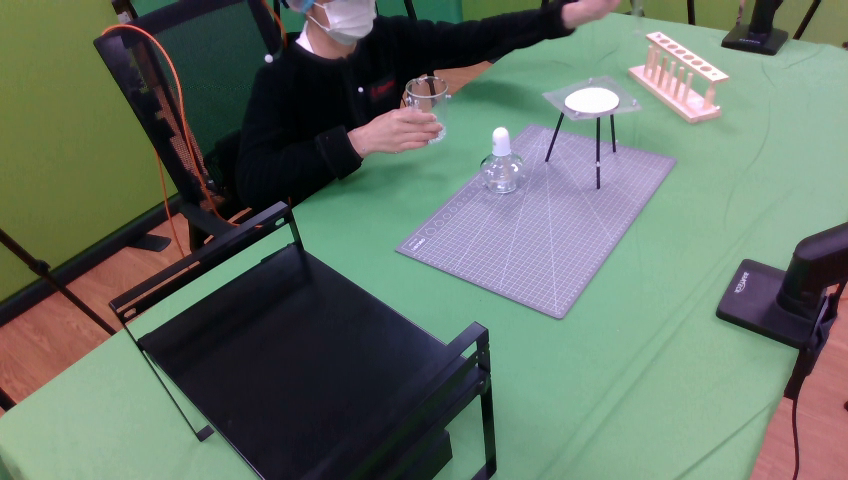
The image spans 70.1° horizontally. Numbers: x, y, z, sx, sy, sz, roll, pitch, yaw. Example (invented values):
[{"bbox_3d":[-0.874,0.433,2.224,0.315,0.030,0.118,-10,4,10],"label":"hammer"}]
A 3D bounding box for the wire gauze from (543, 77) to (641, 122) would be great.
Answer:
[{"bbox_3d":[0.282,-0.236,1.020,0.125,0.011,0.120,-15,40,-6],"label":"wire gauze"}]

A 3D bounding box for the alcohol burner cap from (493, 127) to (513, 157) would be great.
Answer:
[{"bbox_3d":[0.132,-0.169,1.030,0.034,0.048,0.033,-6,36,5],"label":"alcohol burner cap"}]

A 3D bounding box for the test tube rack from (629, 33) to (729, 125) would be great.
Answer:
[{"bbox_3d":[0.516,-0.337,1.247,0.067,0.085,0.240,-14,41,-7],"label":"test tube rack"}]

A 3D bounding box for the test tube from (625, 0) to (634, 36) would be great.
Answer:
[{"bbox_3d":[0.379,-0.442,1.112,0.017,0.151,0.017,-8,51,11],"label":"test tube"}]

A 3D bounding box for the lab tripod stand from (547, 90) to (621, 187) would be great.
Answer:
[{"bbox_3d":[0.289,-0.184,1.062,0.148,0.132,0.147,-6,41,6],"label":"lab tripod stand"}]

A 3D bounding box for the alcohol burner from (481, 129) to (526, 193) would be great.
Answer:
[{"bbox_3d":[0.138,-0.142,1.052,0.078,0.119,0.077,-5,42,5],"label":"alcohol burner"}]

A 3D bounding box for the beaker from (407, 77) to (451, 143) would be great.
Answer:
[{"bbox_3d":[0.008,-0.233,1.089,0.074,0.100,0.083,-17,43,-15],"label":"beaker"}]
